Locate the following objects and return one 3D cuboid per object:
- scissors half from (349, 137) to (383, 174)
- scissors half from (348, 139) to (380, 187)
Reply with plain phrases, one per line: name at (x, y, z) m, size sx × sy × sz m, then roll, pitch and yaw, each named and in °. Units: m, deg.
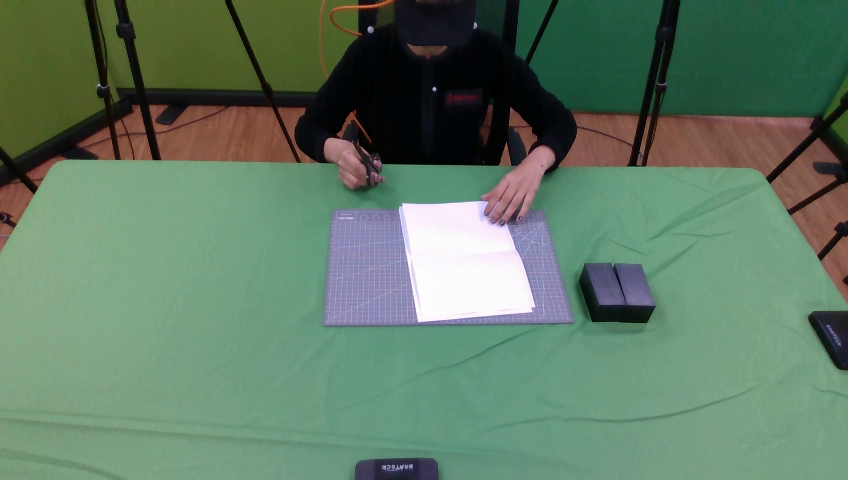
scissors half at (-0.116, -0.172, 1.215) m, size 0.013 × 0.176 × 0.040 m, roll 5°, pitch 81°, yaw 17°
scissors half at (-0.121, -0.154, 1.210) m, size 0.013 × 0.176 × 0.040 m, roll 11°, pitch 68°, yaw 19°
